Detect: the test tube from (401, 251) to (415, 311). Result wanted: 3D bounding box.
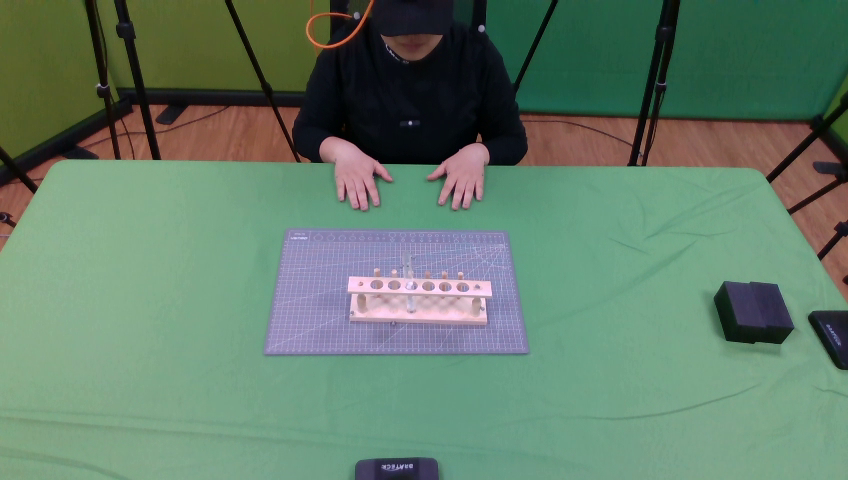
[{"bbox_3d":[-0.026,0.072,1.011,0.017,0.151,0.017,-1,48,2],"label":"test tube"}]

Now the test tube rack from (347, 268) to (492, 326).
[{"bbox_3d":[-0.009,0.095,1.059,0.242,0.085,0.066,2,46,-2],"label":"test tube rack"}]
